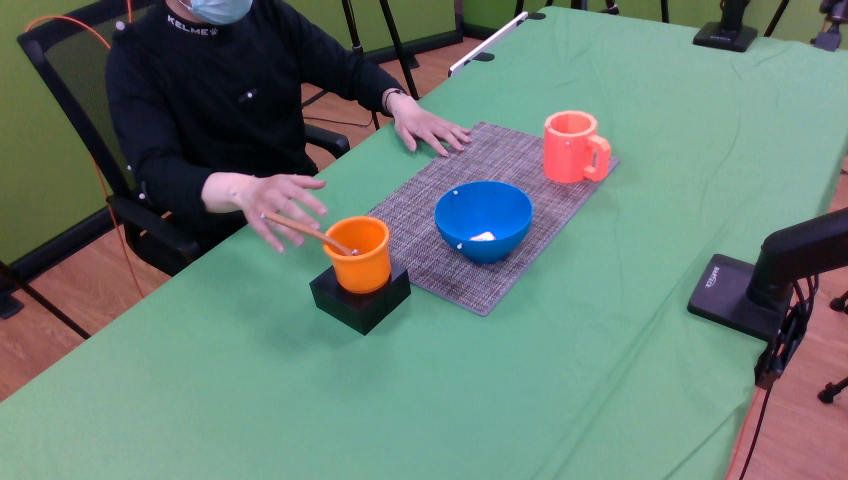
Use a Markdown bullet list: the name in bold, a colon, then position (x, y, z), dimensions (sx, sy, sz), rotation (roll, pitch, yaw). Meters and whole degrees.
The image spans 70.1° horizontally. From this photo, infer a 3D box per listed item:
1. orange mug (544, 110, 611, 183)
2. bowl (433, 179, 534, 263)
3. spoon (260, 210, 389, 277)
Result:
- **orange mug**: position (0.266, -0.157, 1.049), dimensions (0.084, 0.101, 0.125), rotation (-32, 42, -26)
- **bowl**: position (0.093, -0.018, 0.928), dimensions (0.151, 0.077, 0.150), rotation (-4, 41, 4)
- **spoon**: position (-0.129, 0.003, 0.809), dimensions (0.021, 0.195, 0.041), rotation (-41, 33, 30)
